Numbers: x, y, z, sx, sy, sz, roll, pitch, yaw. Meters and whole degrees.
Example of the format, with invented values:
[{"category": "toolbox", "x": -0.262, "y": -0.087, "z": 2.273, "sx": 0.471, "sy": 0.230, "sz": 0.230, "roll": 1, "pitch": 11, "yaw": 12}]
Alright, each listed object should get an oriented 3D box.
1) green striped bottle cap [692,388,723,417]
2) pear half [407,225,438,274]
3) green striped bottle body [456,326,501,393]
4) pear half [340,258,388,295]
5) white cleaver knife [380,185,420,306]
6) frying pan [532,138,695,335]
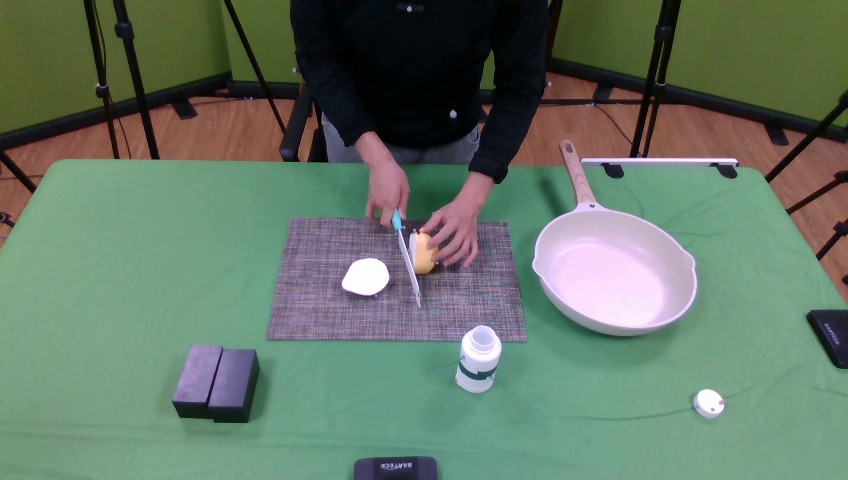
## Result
[{"category": "green striped bottle cap", "x": 0.460, "y": 0.263, "z": 0.984, "sx": 0.044, "sy": 0.020, "sz": 0.044, "roll": 3, "pitch": 47, "yaw": -3}, {"category": "pear half", "x": -0.001, "y": 0.012, "z": 1.120, "sx": 0.056, "sy": 0.110, "sz": 0.076, "roll": -8, "pitch": 50, "yaw": -13}, {"category": "green striped bottle body", "x": 0.086, "y": 0.185, "z": 0.959, "sx": 0.063, "sy": 0.120, "sz": 0.063, "roll": 2, "pitch": 46, "yaw": -2}, {"category": "pear half", "x": -0.111, "y": 0.072, "z": 1.107, "sx": 0.088, "sy": 0.031, "sz": 0.070, "roll": -21, "pitch": 66, "yaw": -16}, {"category": "white cleaver knife", "x": -0.047, "y": 0.003, "z": 1.155, "sx": 0.021, "sy": 0.066, "sz": 0.284, "roll": -11, "pitch": 51, "yaw": -8}, {"category": "frying pan", "x": 0.336, "y": -0.024, "z": 1.190, "sx": 0.307, "sy": 0.103, "sz": 0.484, "roll": -2, "pitch": 55, "yaw": -7}]
